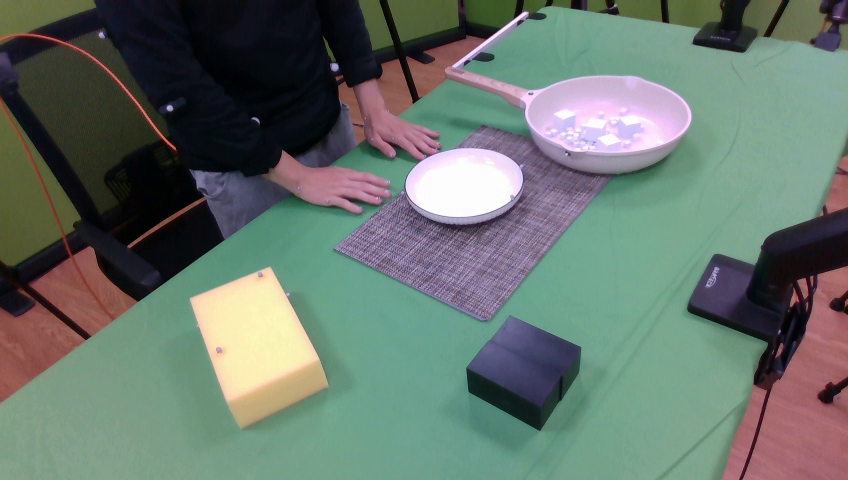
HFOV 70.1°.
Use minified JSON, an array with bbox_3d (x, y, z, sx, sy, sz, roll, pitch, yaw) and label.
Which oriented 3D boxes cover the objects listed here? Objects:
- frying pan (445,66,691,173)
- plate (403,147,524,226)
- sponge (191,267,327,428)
[{"bbox_3d":[0.250,-0.258,1.165,0.485,0.103,0.307,27,48,22],"label":"frying pan"},{"bbox_3d":[0.069,-0.089,1.044,0.207,0.039,0.206,-4,41,4],"label":"plate"},{"bbox_3d":[-0.226,0.135,0.814,0.119,0.061,0.205,-23,43,-19],"label":"sponge"}]
